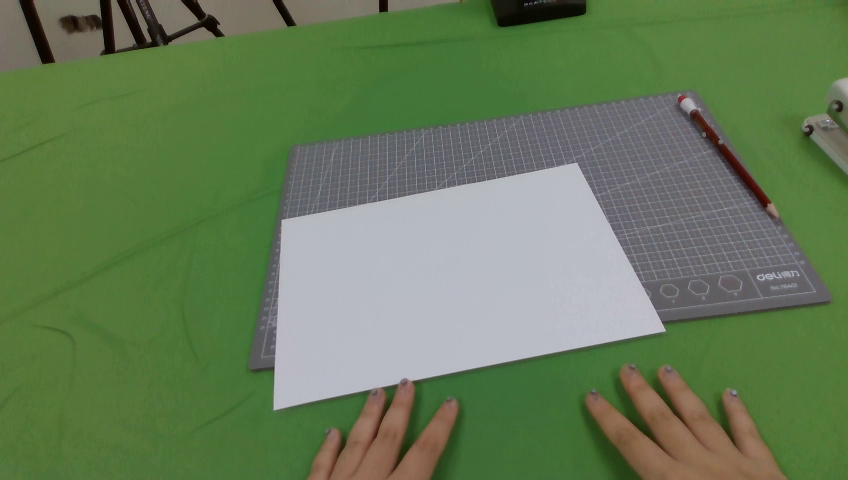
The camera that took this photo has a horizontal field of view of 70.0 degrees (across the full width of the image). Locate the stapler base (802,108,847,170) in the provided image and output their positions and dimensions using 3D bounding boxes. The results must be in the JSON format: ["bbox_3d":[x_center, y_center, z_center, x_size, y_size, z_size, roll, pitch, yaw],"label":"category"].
[{"bbox_3d":[0.397,-0.086,0.550,0.041,0.025,0.129,-12,47,2],"label":"stapler base"}]

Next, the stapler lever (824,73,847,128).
[{"bbox_3d":[0.394,-0.103,0.530,0.027,0.040,0.117,-13,47,2],"label":"stapler lever"}]

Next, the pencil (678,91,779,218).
[{"bbox_3d":[0.286,-0.087,0.576,0.012,0.012,0.192,-11,46,0],"label":"pencil"}]
